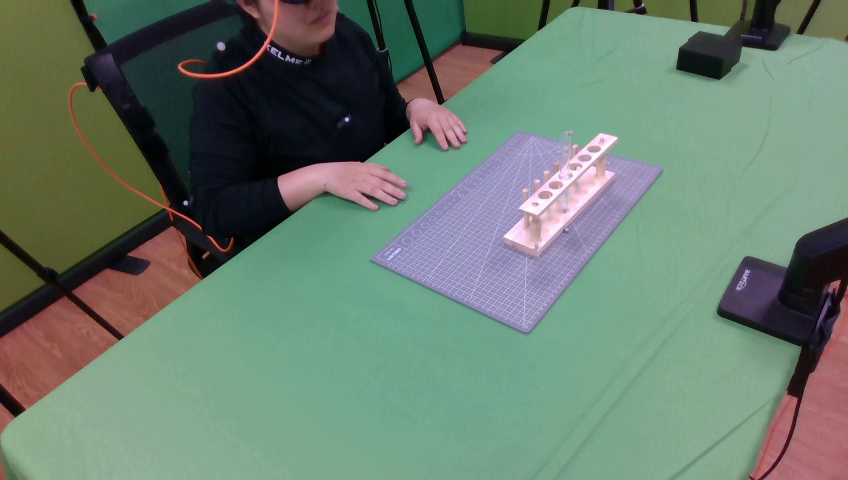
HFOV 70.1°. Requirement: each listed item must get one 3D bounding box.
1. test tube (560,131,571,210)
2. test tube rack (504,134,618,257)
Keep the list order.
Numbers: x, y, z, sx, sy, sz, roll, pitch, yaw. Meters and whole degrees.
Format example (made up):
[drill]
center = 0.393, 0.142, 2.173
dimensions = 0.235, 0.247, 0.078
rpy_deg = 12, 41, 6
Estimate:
[test tube]
center = 0.218, -0.103, 0.933
dimensions = 0.017, 0.151, 0.017
rpy_deg = -6, 45, 7
[test tube rack]
center = 0.225, -0.083, 0.984
dimensions = 0.066, 0.085, 0.243
rpy_deg = 25, 50, 34
